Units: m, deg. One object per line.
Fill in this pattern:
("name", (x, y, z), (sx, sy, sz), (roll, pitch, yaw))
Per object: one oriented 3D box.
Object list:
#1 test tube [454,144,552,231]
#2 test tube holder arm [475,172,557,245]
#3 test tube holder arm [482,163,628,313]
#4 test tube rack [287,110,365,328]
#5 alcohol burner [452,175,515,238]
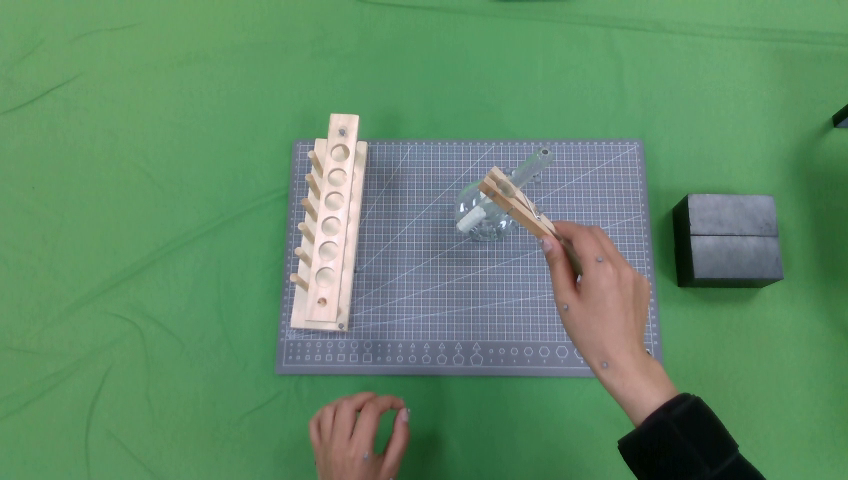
("test tube", (0.064, -0.042, 0.540), (0.017, 0.150, 0.017), (11, 64, -22))
("test tube holder arm", (0.082, -0.027, 0.534), (0.088, 0.015, 0.010), (38, 57, -8))
("test tube holder arm", (0.118, 0.000, 0.541), (0.178, 0.015, 0.013), (44, 57, -4))
("test tube rack", (-0.118, -0.024, 0.710), (0.067, 0.085, 0.241), (4, 75, 2))
("alcohol burner", (0.071, -0.044, 0.697), (0.078, 0.119, 0.077), (-1, 76, 2))
